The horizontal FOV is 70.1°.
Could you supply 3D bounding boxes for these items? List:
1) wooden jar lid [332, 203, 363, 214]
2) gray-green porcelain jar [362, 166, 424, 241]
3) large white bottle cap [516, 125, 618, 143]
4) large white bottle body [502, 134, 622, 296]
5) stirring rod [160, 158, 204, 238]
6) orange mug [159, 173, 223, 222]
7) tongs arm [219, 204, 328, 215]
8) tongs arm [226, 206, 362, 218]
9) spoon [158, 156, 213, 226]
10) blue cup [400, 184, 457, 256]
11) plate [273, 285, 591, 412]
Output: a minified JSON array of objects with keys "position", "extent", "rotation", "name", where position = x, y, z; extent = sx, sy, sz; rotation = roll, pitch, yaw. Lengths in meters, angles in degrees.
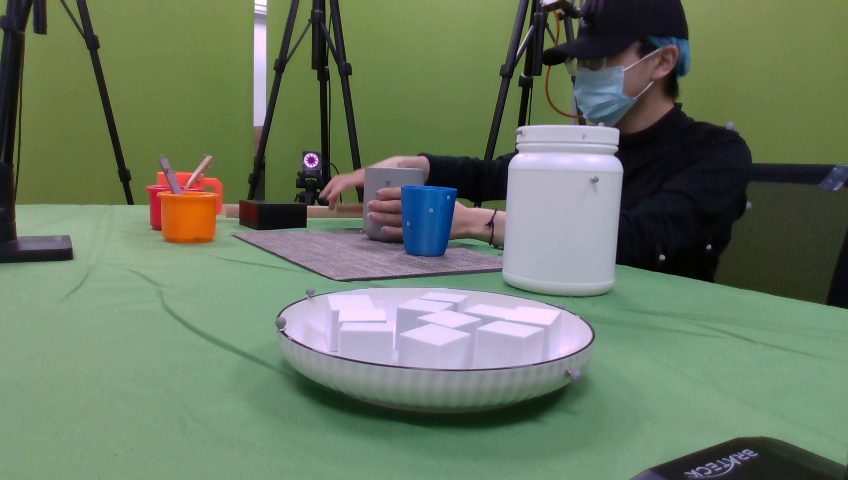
[{"position":[-0.127,-0.063,1.194],"extent":[0.108,0.020,0.108],"rotation":[-1,5,0],"name":"wooden jar lid"},{"position":[-0.054,-0.065,1.054],"extent":[0.106,0.126,0.106],"rotation":[2,8,0],"name":"gray-green porcelain jar"},{"position":[0.164,-0.120,0.695],"extent":[0.115,0.018,0.115],"rotation":[2,7,0],"name":"large white bottle cap"},{"position":[0.161,-0.037,0.706],"extent":[0.131,0.184,0.130],"rotation":[2,7,0],"name":"large white bottle body"},{"position":[-0.391,-0.070,0.972],"extent":[0.014,0.006,0.175],"rotation":[-2,50,-48],"name":"stirring rod"},{"position":[-0.477,-0.089,1.241],"extent":[0.127,0.101,0.083],"rotation":[-7,11,-33],"name":"orange mug"},{"position":[-0.289,-0.069,1.435],"extent":[0.389,0.027,0.028],"rotation":[0,-1,-18],"name":"tongs arm"},{"position":[-0.252,-0.062,1.361],"extent":[0.387,0.026,0.050],"rotation":[-1,3,-31],"name":"tongs arm"},{"position":[-0.435,-0.094,1.121],"extent":[0.041,0.022,0.193],"rotation":[5,51,14],"name":"spoon"},{"position":[0.003,-0.029,0.901],"extent":[0.093,0.100,0.092],"rotation":[4,8,0],"name":"blue cup"},{"position":[0.005,0.069,0.408],"extent":[0.208,0.039,0.207],"rotation":[2,7,0],"name":"plate"}]
